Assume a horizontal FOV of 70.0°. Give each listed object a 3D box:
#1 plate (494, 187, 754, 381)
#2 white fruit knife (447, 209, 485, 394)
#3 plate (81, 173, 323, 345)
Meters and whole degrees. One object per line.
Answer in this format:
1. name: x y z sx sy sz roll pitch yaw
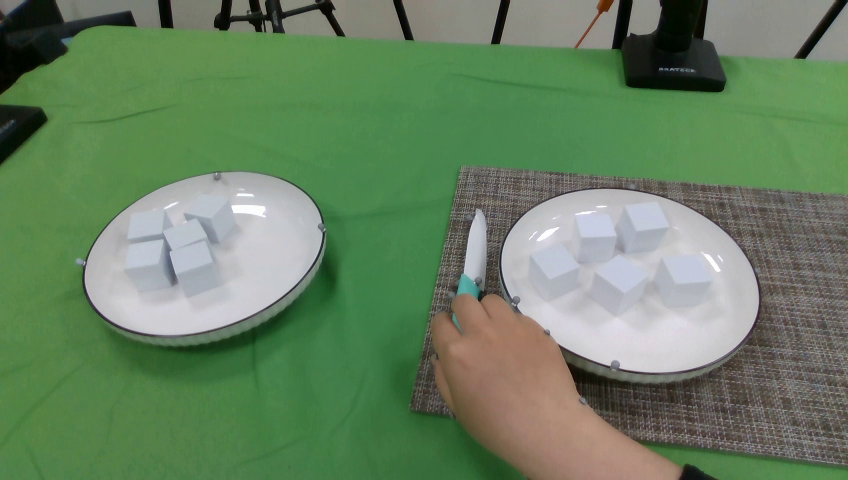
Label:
1. plate: 0.162 0.034 0.514 0.208 0.039 0.205 -1 45 1
2. white fruit knife: 0.039 0.041 0.530 0.027 0.016 0.205 25 42 -13
3. plate: -0.194 0.016 0.551 0.209 0.038 0.207 -1 44 1
